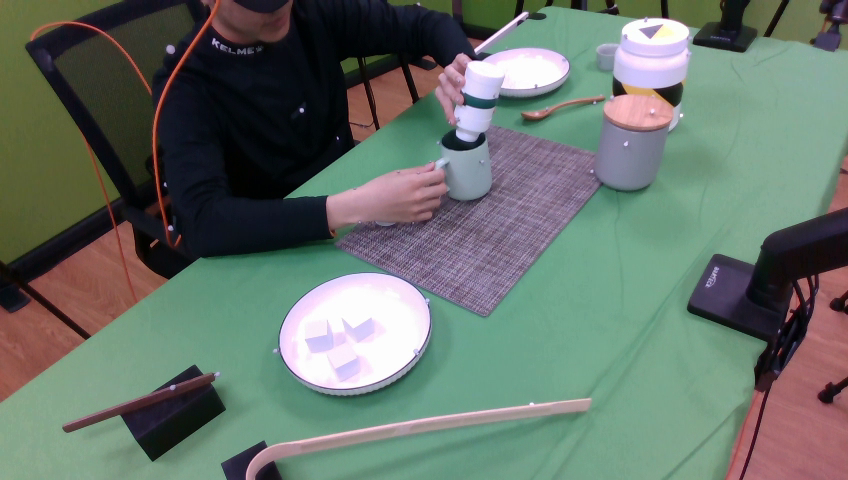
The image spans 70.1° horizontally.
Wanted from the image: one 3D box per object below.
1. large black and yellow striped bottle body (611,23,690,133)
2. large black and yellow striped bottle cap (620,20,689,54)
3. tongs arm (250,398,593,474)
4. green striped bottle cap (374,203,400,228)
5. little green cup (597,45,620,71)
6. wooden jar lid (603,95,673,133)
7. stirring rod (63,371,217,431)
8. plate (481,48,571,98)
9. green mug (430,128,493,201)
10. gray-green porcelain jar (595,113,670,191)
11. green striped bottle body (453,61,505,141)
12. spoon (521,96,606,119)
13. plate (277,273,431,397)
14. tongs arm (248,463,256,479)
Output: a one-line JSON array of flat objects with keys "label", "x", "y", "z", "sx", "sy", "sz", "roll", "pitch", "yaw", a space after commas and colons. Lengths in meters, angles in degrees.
[{"label": "large black and yellow striped bottle body", "x": 0.420, "y": -0.299, "z": 1.132, "sx": 0.131, "sy": 0.185, "sz": 0.130, "roll": -5, "pitch": 40, "yaw": 4}, {"label": "large black and yellow striped bottle cap", "x": 0.411, "y": -0.363, "z": 1.079, "sx": 0.115, "sy": 0.019, "sz": 0.114, "roll": -3, "pitch": 42, "yaw": 4}, {"label": "tongs arm", "x": 0.008, "y": 0.212, "z": 0.675, "sx": 0.389, "sy": 0.028, "sz": 0.028, "roll": -5, "pitch": 46, "yaw": -11}, {"label": "green striped bottle cap", "x": -0.064, "y": -0.042, "z": 1.030, "sx": 0.044, "sy": 0.020, "sz": 0.044, "roll": -1, "pitch": 45, "yaw": 2}, {"label": "little green cup", "x": 0.423, "y": -0.413, "z": 1.376, "sx": 0.061, "sy": 0.039, "sz": 0.061, "roll": -4, "pitch": 41, "yaw": 4}, {"label": "wooden jar lid", "x": 0.343, "y": -0.200, "z": 0.974, "sx": 0.108, "sy": 0.021, "sz": 0.108, "roll": -2, "pitch": 39, "yaw": 2}, {"label": "stirring rod", "x": -0.337, "y": 0.192, "z": 0.723, "sx": 0.177, "sy": 0.014, "sz": 0.005, "roll": -18, "pitch": 42, "yaw": -12}, {"label": "plate", "x": 0.223, "y": -0.371, "z": 1.357, "sx": 0.209, "sy": 0.038, "sz": 0.208, "roll": -4, "pitch": 41, "yaw": 4}, {"label": "green mug", "x": 0.059, "y": -0.121, "z": 1.034, "sx": 0.126, "sy": 0.105, "sz": 0.091, "roll": -35, "pitch": 48, "yaw": -28}, {"label": "gray-green porcelain jar", "x": 0.346, "y": -0.155, "z": 1.017, "sx": 0.106, "sy": 0.127, "sz": 0.105, "roll": -2, "pitch": 44, "yaw": 2}, {"label": "green striped bottle body", "x": 0.085, "y": -0.222, "z": 0.981, "sx": 0.063, "sy": 0.119, "sz": 0.063, "roll": 12, "pitch": 34, "yaw": -7}, {"label": "spoon", "x": 0.291, "y": -0.277, "z": 1.248, "sx": 0.194, "sy": 0.022, "sz": 0.041, "roll": -18, "pitch": 23, "yaw": -12}, {"label": "plate", "x": -0.091, "y": 0.129, "z": 0.821, "sx": 0.207, "sy": 0.039, "sz": 0.206, "roll": -4, "pitch": 40, "yaw": 4}, {"label": "tongs arm", "x": 0.012, "y": 0.262, "z": 0.615, "sx": 0.385, "sy": 0.026, "sz": 0.050, "roll": 2, "pitch": 42, "yaw": -2}]
